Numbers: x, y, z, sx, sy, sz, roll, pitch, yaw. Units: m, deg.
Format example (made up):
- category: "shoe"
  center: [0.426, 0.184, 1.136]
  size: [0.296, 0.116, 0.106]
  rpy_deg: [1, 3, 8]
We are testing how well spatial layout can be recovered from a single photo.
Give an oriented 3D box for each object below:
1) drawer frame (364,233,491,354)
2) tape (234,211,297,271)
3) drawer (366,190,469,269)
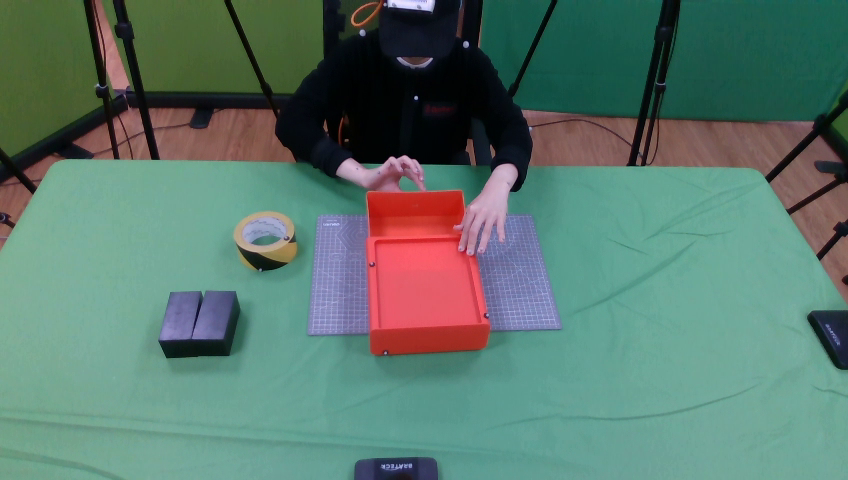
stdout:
- category: "drawer frame"
  center: [0.000, 0.088, 1.066]
  size: [0.202, 0.083, 0.212]
  rpy_deg: [-2, 47, -7]
- category: "tape"
  center: [-0.301, 0.002, 1.154]
  size: [0.117, 0.053, 0.116]
  rpy_deg: [2, 46, -1]
- category: "drawer"
  center: [-0.012, -0.003, 1.154]
  size: [0.195, 0.073, 0.210]
  rpy_deg: [-1, 46, -6]
